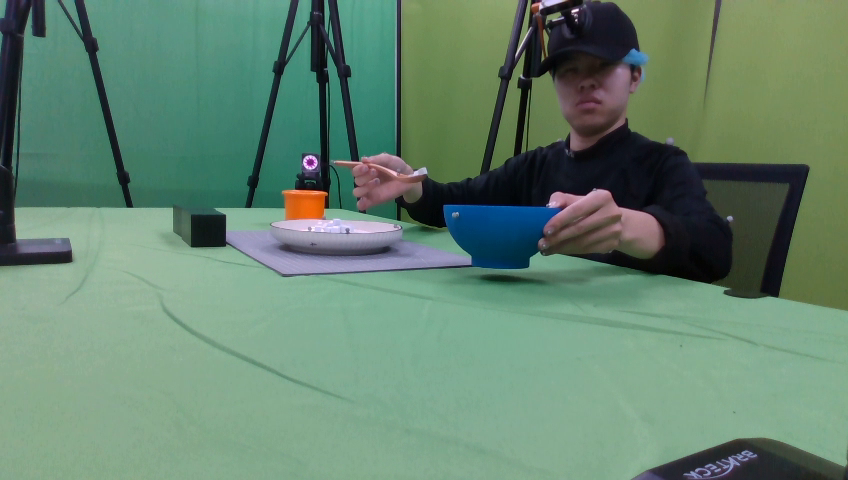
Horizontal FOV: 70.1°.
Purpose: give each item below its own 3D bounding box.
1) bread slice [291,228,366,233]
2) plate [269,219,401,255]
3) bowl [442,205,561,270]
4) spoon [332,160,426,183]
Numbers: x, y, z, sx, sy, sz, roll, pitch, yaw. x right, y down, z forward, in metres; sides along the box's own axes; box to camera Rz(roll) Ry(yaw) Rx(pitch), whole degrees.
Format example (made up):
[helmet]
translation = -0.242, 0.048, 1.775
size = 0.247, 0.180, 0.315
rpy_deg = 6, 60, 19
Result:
[bread slice]
translation = -0.143, -0.003, 0.953
size = 0.135, 0.018, 0.106
rpy_deg = -1, 8, -37
[plate]
translation = -0.140, -0.006, 0.958
size = 0.209, 0.038, 0.209
rpy_deg = 3, 7, 0
[bowl]
translation = 0.096, -0.004, 0.765
size = 0.151, 0.077, 0.151
rpy_deg = 1, 4, 0
[spoon]
translation = -0.081, -0.120, 1.025
size = 0.193, 0.021, 0.042
rpy_deg = 18, 19, 31
